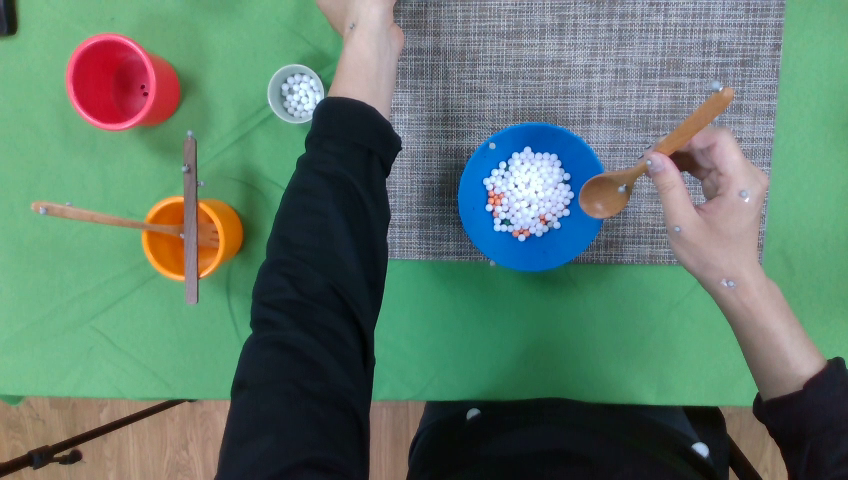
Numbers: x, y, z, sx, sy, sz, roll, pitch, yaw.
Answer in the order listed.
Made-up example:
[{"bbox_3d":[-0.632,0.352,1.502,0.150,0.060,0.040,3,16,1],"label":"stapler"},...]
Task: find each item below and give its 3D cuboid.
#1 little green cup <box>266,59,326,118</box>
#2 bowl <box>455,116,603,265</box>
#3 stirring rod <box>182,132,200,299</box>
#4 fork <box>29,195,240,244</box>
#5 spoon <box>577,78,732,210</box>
[{"bbox_3d":[-0.138,-0.164,0.664,0.061,0.038,0.062,1,100,4],"label":"little green cup"},{"bbox_3d":[0.109,-0.054,0.641,0.151,0.076,0.152,1,100,4],"label":"bowl"},{"bbox_3d":[-0.244,-0.024,0.635,0.014,0.006,0.176,3,99,6],"label":"stirring rod"},{"bbox_3d":[-0.297,-0.022,0.643,0.209,0.018,0.028,11,106,-41],"label":"fork"},{"bbox_3d":[0.175,-0.068,0.479,0.041,0.194,0.021,40,70,2],"label":"spoon"}]
